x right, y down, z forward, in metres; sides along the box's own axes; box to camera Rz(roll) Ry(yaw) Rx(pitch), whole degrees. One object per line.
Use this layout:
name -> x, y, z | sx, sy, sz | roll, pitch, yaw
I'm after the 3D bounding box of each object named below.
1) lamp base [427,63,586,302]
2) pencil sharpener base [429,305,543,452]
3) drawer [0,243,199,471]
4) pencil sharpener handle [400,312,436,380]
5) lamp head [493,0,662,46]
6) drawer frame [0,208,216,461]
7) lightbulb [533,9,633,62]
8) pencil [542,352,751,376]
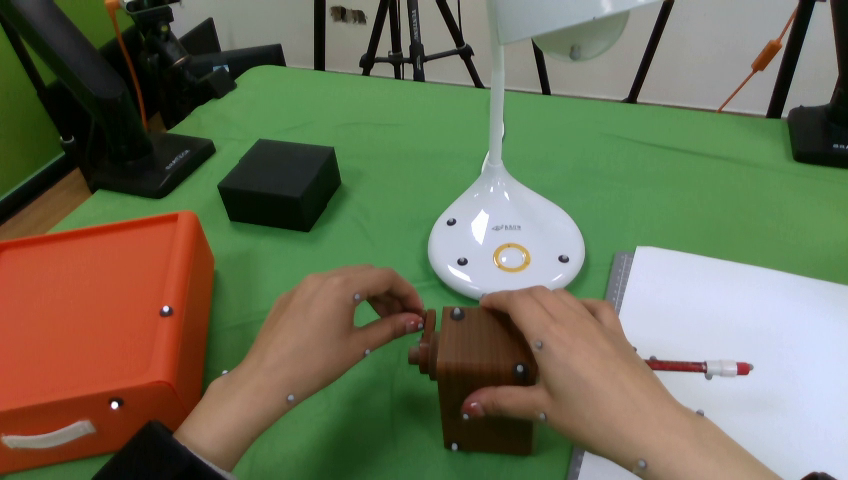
lamp base -> 0.075, -0.062, 0.579 | 0.161, 0.182, 0.177 | -10, 39, -6
pencil sharpener base -> 0.045, 0.103, 0.448 | 0.076, 0.108, 0.061 | 0, 42, 6
drawer -> -0.295, 0.082, 0.527 | 0.195, 0.074, 0.209 | -11, 40, -5
pencil sharpener handle -> -0.006, 0.075, 0.449 | 0.030, 0.036, 0.067 | 0, 27, 7
lamp head -> 0.084, -0.184, 0.348 | 0.112, 0.123, 0.112 | -16, 11, 4
drawer frame -> -0.297, 0.079, 0.528 | 0.202, 0.083, 0.211 | -11, 41, -6
lightbulb -> 0.089, -0.158, 0.348 | 0.059, 0.108, 0.059 | -6, 17, 2
pencil -> 0.125, 0.084, 0.422 | 0.194, 0.012, 0.012 | 2, 41, 6
